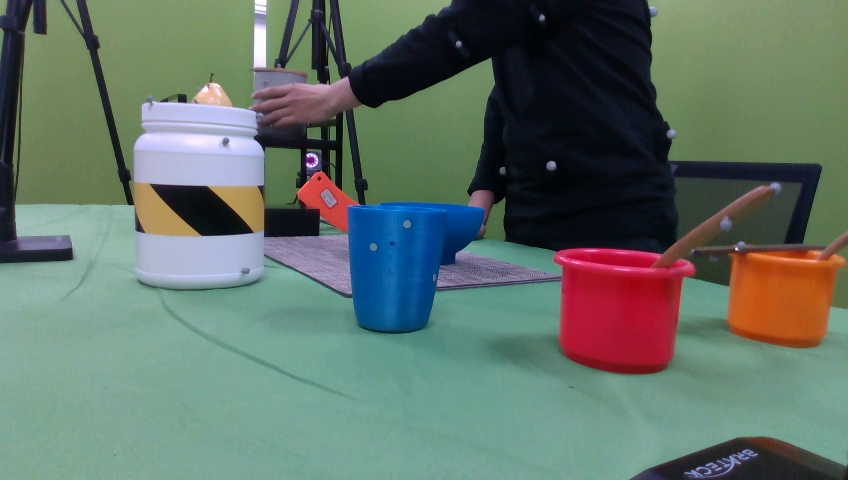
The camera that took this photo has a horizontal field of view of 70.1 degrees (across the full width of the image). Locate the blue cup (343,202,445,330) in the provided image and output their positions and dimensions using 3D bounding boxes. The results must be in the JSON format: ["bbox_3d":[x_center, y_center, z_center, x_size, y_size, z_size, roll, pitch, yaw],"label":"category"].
[{"bbox_3d":[-0.027,0.021,0.510,0.093,0.100,0.092,3,5,0],"label":"blue cup"}]

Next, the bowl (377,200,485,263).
[{"bbox_3d":[0.008,-0.012,0.842,0.151,0.077,0.151,2,7,0],"label":"bowl"}]

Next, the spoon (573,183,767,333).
[{"bbox_3d":[0.158,0.020,0.412,0.042,0.021,0.193,-2,-35,-21],"label":"spoon"}]

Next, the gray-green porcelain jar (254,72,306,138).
[{"bbox_3d":[-0.299,-0.277,1.257,0.106,0.126,0.106,2,8,0],"label":"gray-green porcelain jar"}]

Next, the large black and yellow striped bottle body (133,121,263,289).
[{"bbox_3d":[-0.243,-0.048,0.659,0.131,0.184,0.130,2,7,0],"label":"large black and yellow striped bottle body"}]

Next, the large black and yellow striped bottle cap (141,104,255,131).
[{"bbox_3d":[-0.241,-0.131,0.650,0.115,0.019,0.115,3,8,0],"label":"large black and yellow striped bottle cap"}]

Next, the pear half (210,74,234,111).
[{"bbox_3d":[-0.401,-0.261,1.162,0.076,0.109,0.056,7,7,2],"label":"pear half"}]

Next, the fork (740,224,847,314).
[{"bbox_3d":[0.323,0.013,0.485,0.028,0.018,0.207,9,-38,-5],"label":"fork"}]

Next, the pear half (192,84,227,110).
[{"bbox_3d":[-0.405,-0.248,1.128,0.070,0.088,0.031,6,6,2],"label":"pear half"}]

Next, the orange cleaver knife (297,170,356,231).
[{"bbox_3d":[-0.149,-0.058,1.170,0.212,0.077,0.012,33,-15,-32],"label":"orange cleaver knife"}]

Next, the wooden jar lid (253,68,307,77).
[{"bbox_3d":[-0.296,-0.339,1.249,0.108,0.020,0.108,3,10,0],"label":"wooden jar lid"}]

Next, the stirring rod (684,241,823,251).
[{"bbox_3d":[0.289,0.005,0.525,0.177,0.006,0.014,-1,5,-26],"label":"stirring rod"}]
